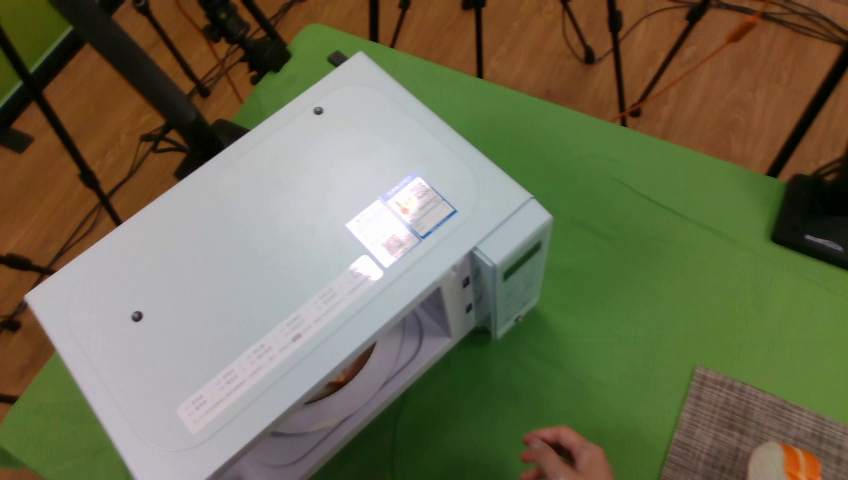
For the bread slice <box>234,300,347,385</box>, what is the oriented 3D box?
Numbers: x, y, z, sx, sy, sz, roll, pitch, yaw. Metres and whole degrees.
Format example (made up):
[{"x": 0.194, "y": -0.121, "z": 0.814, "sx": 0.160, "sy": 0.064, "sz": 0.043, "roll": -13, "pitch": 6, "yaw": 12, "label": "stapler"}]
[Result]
[{"x": -0.162, "y": 0.127, "z": 0.740, "sx": 0.134, "sy": 0.018, "sz": 0.106, "roll": -2, "pitch": 61, "yaw": -6, "label": "bread slice"}]

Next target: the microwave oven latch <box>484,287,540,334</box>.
[{"x": 0.111, "y": 0.082, "z": 0.769, "sx": 0.079, "sy": 0.030, "sz": 0.030, "roll": -39, "pitch": 67, "yaw": -12, "label": "microwave oven latch"}]

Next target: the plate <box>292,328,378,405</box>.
[{"x": -0.157, "y": 0.103, "z": 0.744, "sx": 0.208, "sy": 0.039, "sz": 0.206, "roll": 0, "pitch": 62, "yaw": 1, "label": "plate"}]

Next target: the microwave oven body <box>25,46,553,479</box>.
[{"x": -0.129, "y": 0.055, "z": 0.699, "sx": 0.441, "sy": 0.262, "sz": 0.323, "roll": -40, "pitch": 67, "yaw": -12, "label": "microwave oven body"}]
